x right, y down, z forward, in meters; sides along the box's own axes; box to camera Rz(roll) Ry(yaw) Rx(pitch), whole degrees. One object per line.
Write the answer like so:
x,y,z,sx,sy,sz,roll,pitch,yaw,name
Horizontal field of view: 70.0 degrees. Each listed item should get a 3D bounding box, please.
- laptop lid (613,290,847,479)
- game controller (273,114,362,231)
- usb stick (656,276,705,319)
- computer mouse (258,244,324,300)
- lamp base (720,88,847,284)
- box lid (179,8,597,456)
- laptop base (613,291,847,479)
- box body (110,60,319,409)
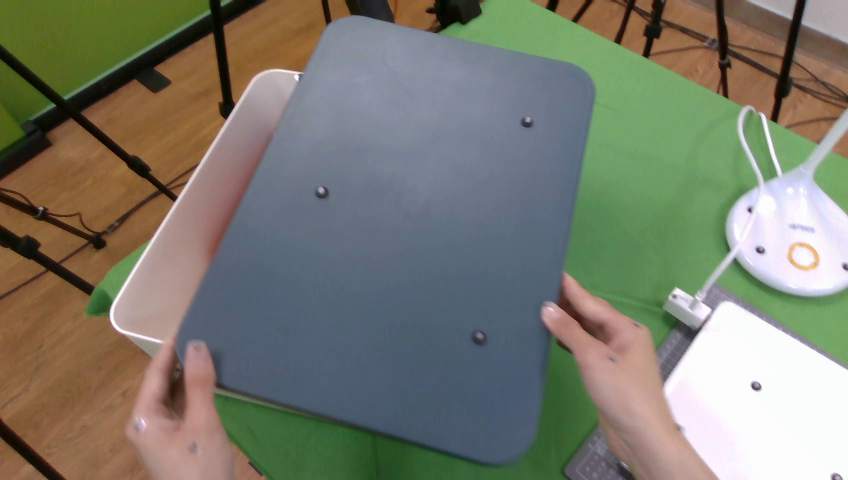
0.394,0.222,0.586,0.354,0.013,0.241,36,68,23,laptop lid
-0.128,-0.088,0.715,0.097,0.052,0.153,-8,57,-7,game controller
0.297,0.070,0.687,0.059,0.027,0.021,40,62,20,usb stick
-0.157,0.030,0.719,0.063,0.041,0.116,-14,18,3,computer mouse
0.447,-0.069,0.691,0.160,0.182,0.177,1,54,3,lamp base
-0.009,-0.038,0.498,0.263,0.015,0.369,15,65,4,box lid
0.396,0.227,0.597,0.351,0.023,0.235,35,68,22,laptop base
-0.123,-0.009,0.683,0.253,0.162,0.361,11,58,9,box body
